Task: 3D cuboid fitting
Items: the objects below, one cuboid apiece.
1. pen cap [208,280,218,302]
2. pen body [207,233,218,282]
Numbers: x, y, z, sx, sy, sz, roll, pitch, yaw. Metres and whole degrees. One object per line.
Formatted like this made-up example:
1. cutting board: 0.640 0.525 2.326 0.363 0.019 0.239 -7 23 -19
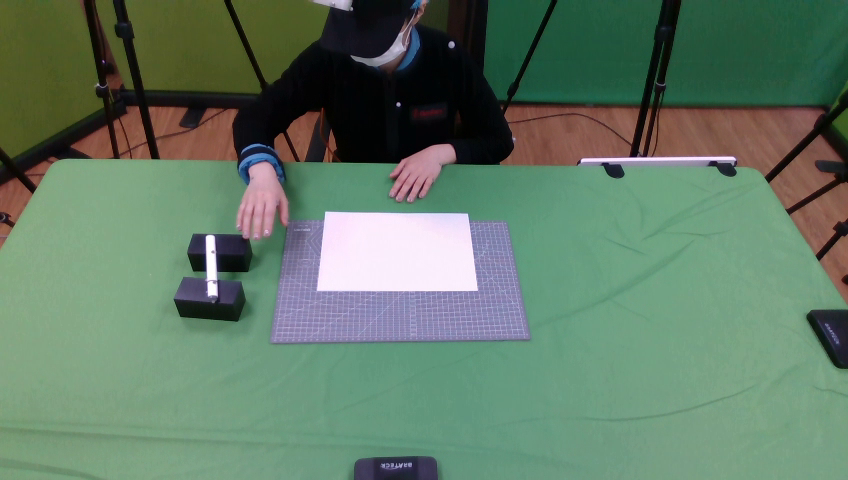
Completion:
1. pen cap: -0.356 0.086 1.021 0.017 0.017 0.038 -9 47 -12
2. pen body: -0.371 0.042 1.062 0.017 0.017 0.143 -9 47 -12
